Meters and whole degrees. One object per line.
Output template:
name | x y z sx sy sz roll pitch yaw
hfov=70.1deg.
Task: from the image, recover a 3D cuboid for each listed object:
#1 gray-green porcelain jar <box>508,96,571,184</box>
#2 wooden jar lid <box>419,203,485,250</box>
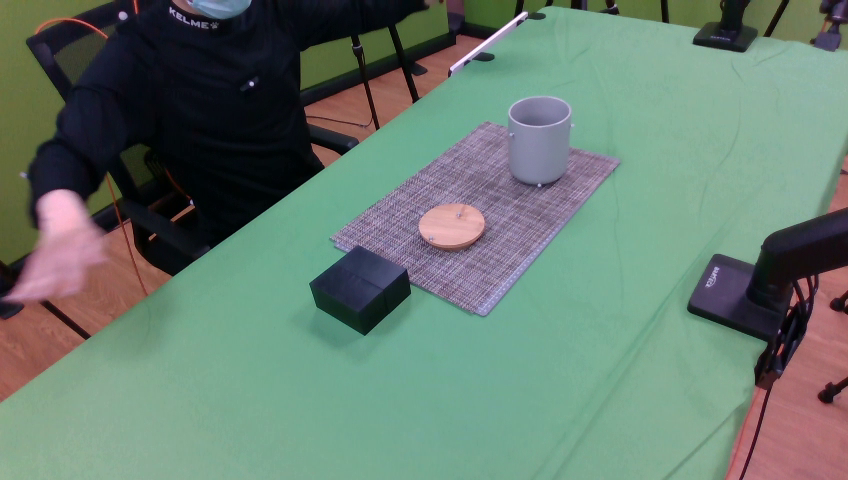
gray-green porcelain jar | 0.199 -0.169 1.051 0.106 0.127 0.105 -4 41 4
wooden jar lid | 0.046 -0.021 0.983 0.108 0.021 0.108 -5 41 5
